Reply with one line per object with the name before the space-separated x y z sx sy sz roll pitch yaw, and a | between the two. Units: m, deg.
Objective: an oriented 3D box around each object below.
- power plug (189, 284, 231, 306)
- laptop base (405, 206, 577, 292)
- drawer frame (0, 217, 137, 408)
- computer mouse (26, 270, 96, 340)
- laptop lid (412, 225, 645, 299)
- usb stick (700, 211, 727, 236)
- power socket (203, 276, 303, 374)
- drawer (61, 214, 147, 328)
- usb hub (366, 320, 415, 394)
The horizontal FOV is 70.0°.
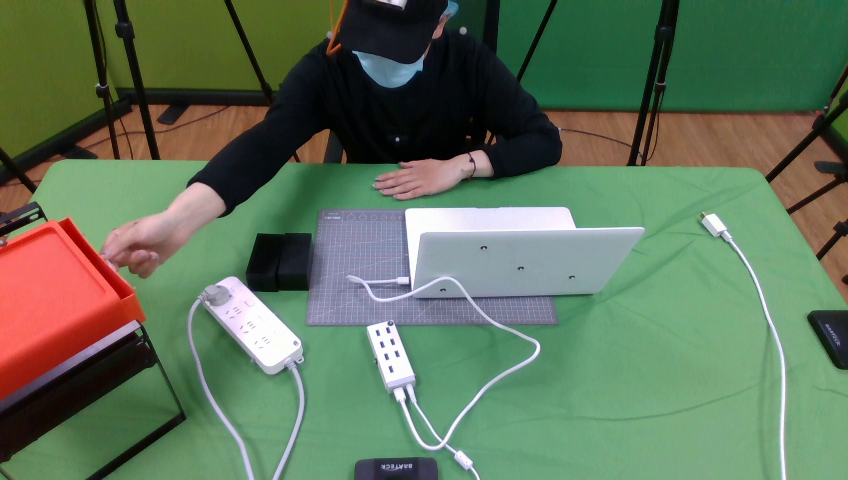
power plug | -0.367 0.100 1.037 0.072 0.053 0.035 -23 53 -26
laptop base | 0.143 0.018 1.196 0.355 0.023 0.234 -1 43 -6
drawer frame | -0.523 0.094 0.779 0.200 0.083 0.213 37 55 27
computer mouse | -0.486 0.082 0.814 0.063 0.041 0.116 -7 42 -7
laptop lid | 0.161 0.042 1.012 0.357 0.242 0.013 0 59 -7
usb stick | 0.606 -0.038 1.273 0.027 0.021 0.059 -18 56 -20
power socket | -0.296 0.141 1.034 0.072 0.033 0.225 -34 58 -30
drawer | -0.511 0.085 0.791 0.193 0.073 0.211 37 55 27
usb hub | -0.056 0.192 1.009 0.049 0.025 0.124 -12 49 -16
